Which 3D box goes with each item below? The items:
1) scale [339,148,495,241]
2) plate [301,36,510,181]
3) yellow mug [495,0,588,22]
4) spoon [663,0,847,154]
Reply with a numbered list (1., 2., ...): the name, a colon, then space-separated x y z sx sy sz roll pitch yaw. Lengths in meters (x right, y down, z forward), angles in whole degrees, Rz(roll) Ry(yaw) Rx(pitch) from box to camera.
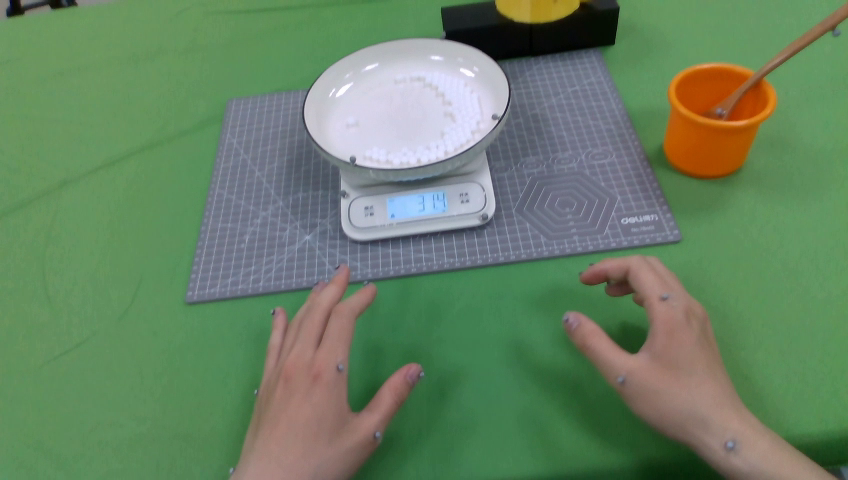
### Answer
1. scale: -0.013 -0.089 0.619 0.148 0.032 0.199 -7 51 2
2. plate: -0.018 -0.132 0.612 0.209 0.038 0.207 -3 51 4
3. yellow mug: 0.145 -0.303 0.686 0.130 0.064 0.099 10 54 15
4. spoon: 0.302 -0.145 0.549 0.022 0.194 0.041 23 39 -31
